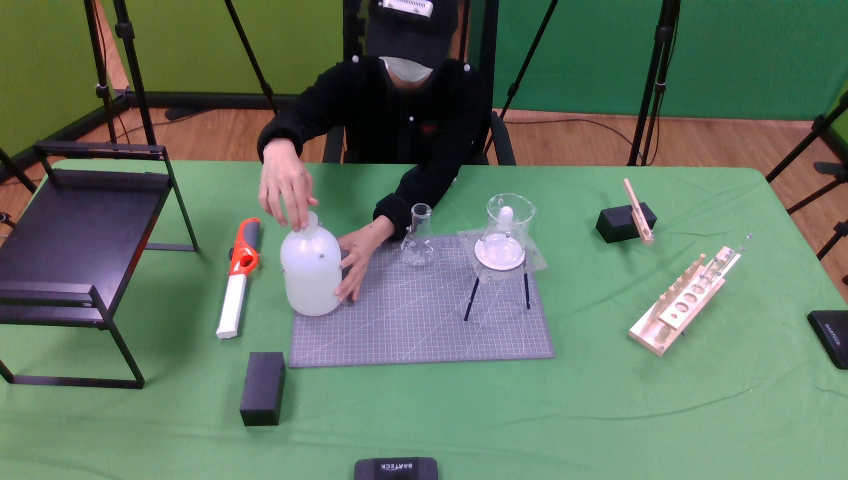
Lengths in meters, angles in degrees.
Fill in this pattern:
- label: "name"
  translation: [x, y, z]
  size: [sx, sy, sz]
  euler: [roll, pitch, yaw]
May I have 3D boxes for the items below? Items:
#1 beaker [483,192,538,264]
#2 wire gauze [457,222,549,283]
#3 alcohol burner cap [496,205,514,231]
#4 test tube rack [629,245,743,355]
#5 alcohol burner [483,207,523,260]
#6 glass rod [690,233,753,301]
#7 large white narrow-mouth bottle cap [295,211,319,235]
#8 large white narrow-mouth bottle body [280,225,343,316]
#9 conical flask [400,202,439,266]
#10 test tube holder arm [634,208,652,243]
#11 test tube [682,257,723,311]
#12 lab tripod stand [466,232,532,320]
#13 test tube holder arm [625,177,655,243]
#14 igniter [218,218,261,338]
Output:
- label: "beaker"
  translation: [0.136, -0.017, 0.980]
  size: [0.084, 0.101, 0.073]
  euler: [-6, 45, -9]
- label: "wire gauze"
  translation: [0.131, 0.016, 1.017]
  size: [0.121, 0.011, 0.124]
  euler: [-10, 44, -16]
- label: "alcohol burner cap"
  translation: [0.153, -0.045, 1.131]
  size: [0.034, 0.048, 0.033]
  euler: [2, 40, -1]
- label: "test tube rack"
  translation: [0.474, 0.095, 1.091]
  size: [0.242, 0.085, 0.066]
  euler: [-34, 56, -31]
- label: "alcohol burner"
  translation: [0.152, -0.018, 1.156]
  size: [0.078, 0.120, 0.077]
  euler: [0, 47, 0]
- label: "glass rod"
  translation: [0.507, 0.053, 1.041]
  size: [0.008, 0.200, 0.008]
  euler: [5, 51, -6]
- label: "large white narrow-mouth bottle cap"
  translation: [-0.185, -0.028, 0.958]
  size: [0.038, 0.024, 0.037]
  euler: [2, 46, -2]
- label: "large white narrow-mouth bottle body"
  translation: [-0.191, 0.035, 1.024]
  size: [0.102, 0.195, 0.101]
  euler: [2, 46, -2]
- label: "conical flask"
  translation: [-0.007, -0.014, 1.135]
  size: [0.075, 0.122, 0.075]
  euler: [2, 46, -2]
- label: "test tube holder arm"
  translation: [0.428, -0.030, 1.189]
  size: [0.010, 0.015, 0.087]
  euler: [2, 47, -2]
- label: "test tube"
  translation: [0.475, 0.080, 1.037]
  size: [0.017, 0.151, 0.017]
  euler: [1, 51, -1]
- label: "lab tripod stand"
  translation: [0.125, 0.059, 1.065]
  size: [0.148, 0.132, 0.147]
  euler: [1, 45, 0]
- label: "test tube holder arm"
  translation: [0.433, -0.063, 1.220]
  size: [0.013, 0.015, 0.177]
  euler: [1, 47, -3]
- label: "igniter"
  translation: [-0.336, 0.060, 1.111]
  size: [0.057, 0.025, 0.274]
  euler: [-7, 46, 4]
